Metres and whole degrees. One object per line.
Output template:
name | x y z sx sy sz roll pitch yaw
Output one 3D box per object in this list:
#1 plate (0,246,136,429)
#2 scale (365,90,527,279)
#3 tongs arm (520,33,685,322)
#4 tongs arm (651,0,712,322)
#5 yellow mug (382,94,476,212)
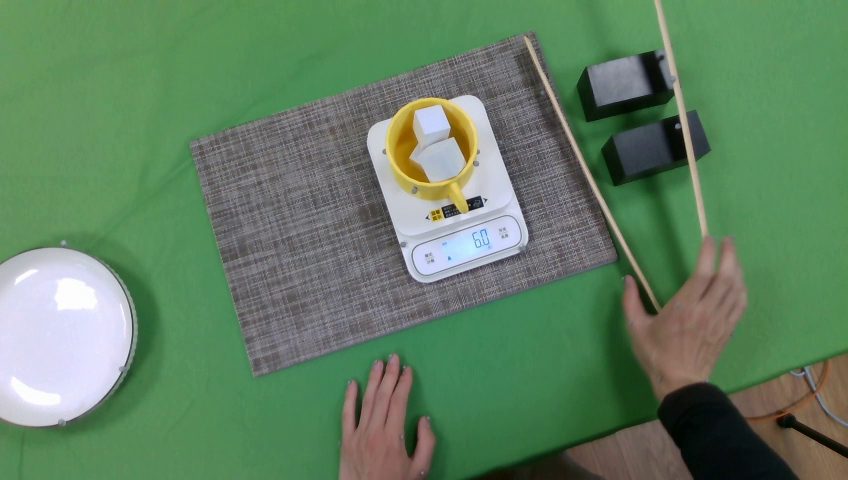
plate | -0.435 0.112 0.708 0.207 0.039 0.207 0 82 2
scale | 0.025 -0.067 0.715 0.149 0.031 0.200 -19 83 0
tongs arm | 0.203 -0.077 0.711 0.028 0.028 0.386 -28 83 20
tongs arm | 0.272 -0.101 0.675 0.050 0.026 0.384 -14 89 24
yellow mug | 0.013 -0.090 0.671 0.100 0.064 0.130 -28 83 -3
